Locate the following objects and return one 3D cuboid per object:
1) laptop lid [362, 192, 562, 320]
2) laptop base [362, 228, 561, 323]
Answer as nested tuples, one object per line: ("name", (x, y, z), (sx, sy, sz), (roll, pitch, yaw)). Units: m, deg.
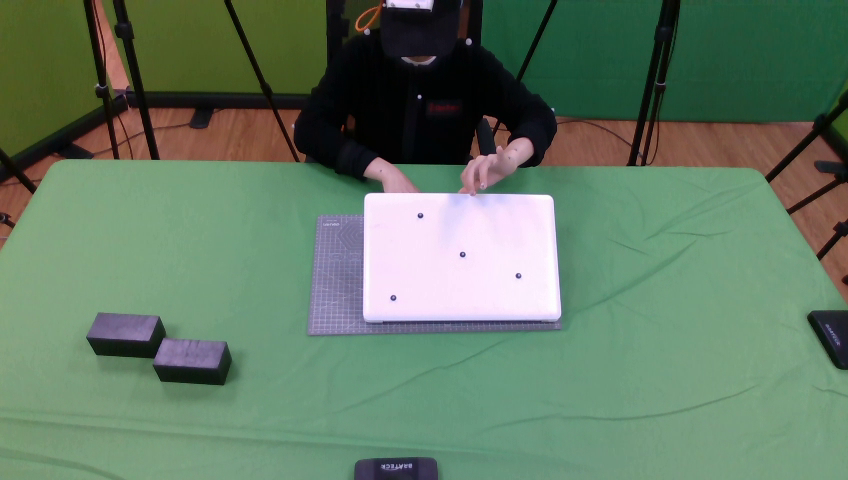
("laptop lid", (0.067, 0.026, 1.081), (0.357, 0.013, 0.241), (2, 76, -4))
("laptop base", (0.064, 0.063, 1.143), (0.355, 0.023, 0.234), (0, 42, -4))
